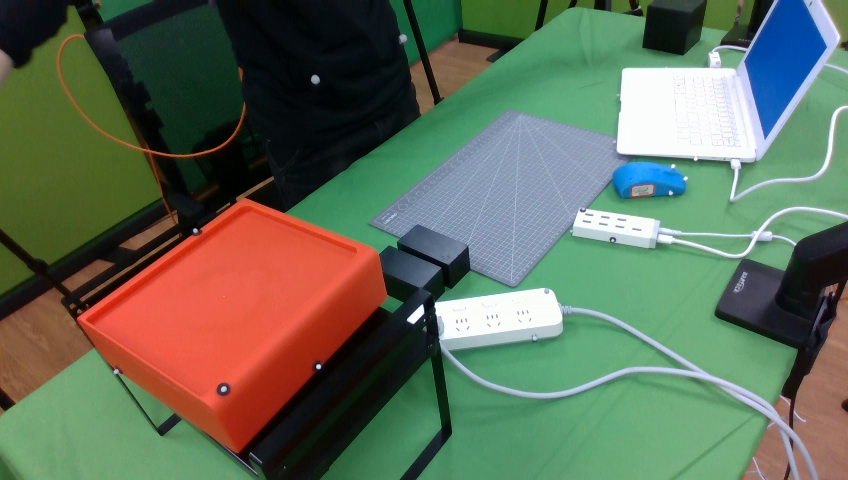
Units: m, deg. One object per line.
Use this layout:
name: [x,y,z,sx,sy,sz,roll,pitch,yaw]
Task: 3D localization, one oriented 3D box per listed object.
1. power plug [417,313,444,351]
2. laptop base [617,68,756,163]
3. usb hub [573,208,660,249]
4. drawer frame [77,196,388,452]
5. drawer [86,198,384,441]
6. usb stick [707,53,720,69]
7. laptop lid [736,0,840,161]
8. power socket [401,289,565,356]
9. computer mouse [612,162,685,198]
power plug: [0.007,0.127,0.786,0.035,0.053,0.072,0,43,8]
laptop base: [0.509,-0.255,1.201,0.234,0.023,0.353,4,41,16]
usb hub: [0.302,-0.019,0.950,0.124,0.025,0.049,11,43,20]
drawer frame: [-0.179,0.066,0.598,0.200,0.083,0.214,20,48,28]
drawer: [-0.179,0.064,0.600,0.193,0.073,0.212,21,48,28]
usb stick: [0.629,-0.382,1.313,0.021,0.027,0.059,2,46,17]
laptop lid: [0.641,-0.327,1.090,0.013,0.242,0.356,16,43,5]
power socket: [0.081,0.112,0.822,0.227,0.033,0.072,-7,41,0]
computer mouse: [0.382,-0.103,1.027,0.117,0.041,0.062,0,39,2]
